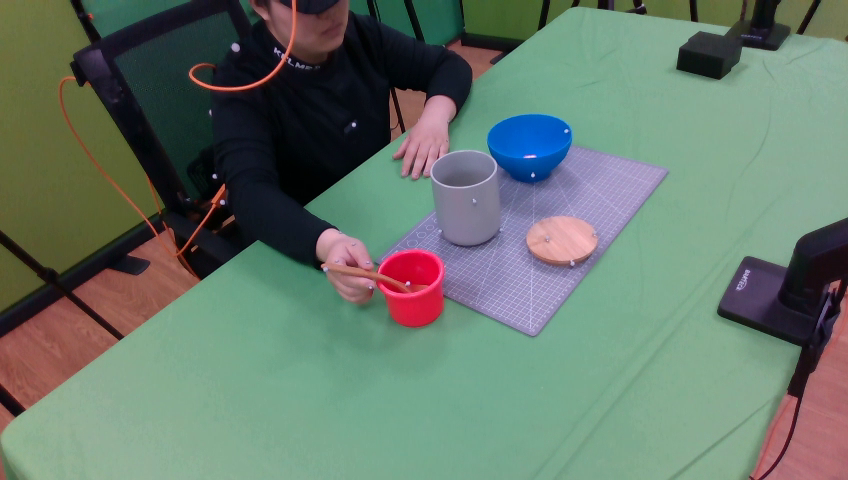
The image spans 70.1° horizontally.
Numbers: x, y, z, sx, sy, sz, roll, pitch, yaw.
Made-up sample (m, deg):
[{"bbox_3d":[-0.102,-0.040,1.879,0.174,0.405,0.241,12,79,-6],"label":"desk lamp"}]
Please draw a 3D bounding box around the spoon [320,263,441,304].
[{"bbox_3d":[-0.056,0.056,0.833,0.195,0.021,0.041,22,27,-35],"label":"spoon"}]

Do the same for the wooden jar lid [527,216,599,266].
[{"bbox_3d":[0.215,0.003,0.937,0.108,0.021,0.108,-4,40,4],"label":"wooden jar lid"}]

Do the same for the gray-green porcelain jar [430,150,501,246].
[{"bbox_3d":[0.069,-0.062,0.959,0.106,0.127,0.105,-5,40,5],"label":"gray-green porcelain jar"}]

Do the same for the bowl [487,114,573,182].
[{"bbox_3d":[0.190,-0.156,1.085,0.151,0.077,0.150,-5,40,5],"label":"bowl"}]
